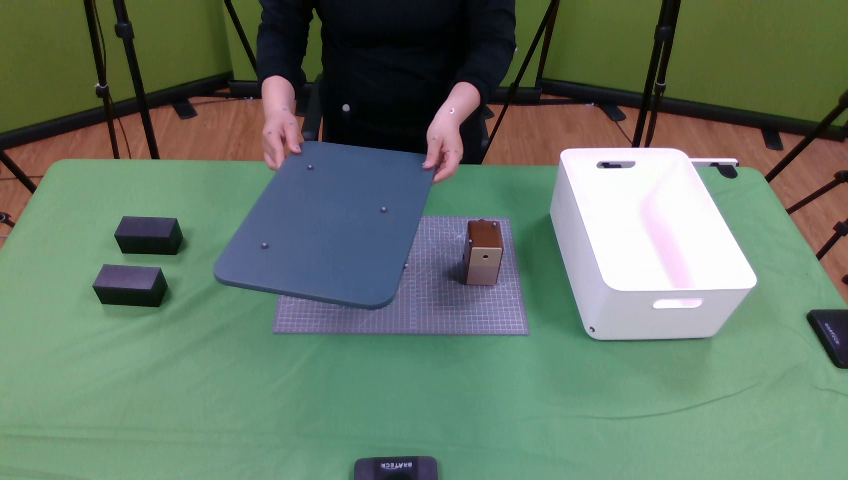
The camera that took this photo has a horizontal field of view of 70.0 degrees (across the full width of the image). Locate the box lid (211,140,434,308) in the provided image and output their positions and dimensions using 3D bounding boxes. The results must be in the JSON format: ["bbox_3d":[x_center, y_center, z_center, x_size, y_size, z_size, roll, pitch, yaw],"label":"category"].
[{"bbox_3d":[-0.141,-0.042,0.952,0.263,0.015,0.369,9,42,7],"label":"box lid"}]

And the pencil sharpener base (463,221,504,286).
[{"bbox_3d":[0.107,0.024,1.118,0.061,0.107,0.076,1,45,-3],"label":"pencil sharpener base"}]

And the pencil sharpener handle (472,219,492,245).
[{"bbox_3d":[0.104,-0.021,1.145,0.036,0.068,0.030,8,44,-10],"label":"pencil sharpener handle"}]

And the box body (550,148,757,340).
[{"bbox_3d":[0.395,0.003,1.127,0.254,0.161,0.361,-1,46,-5],"label":"box body"}]
